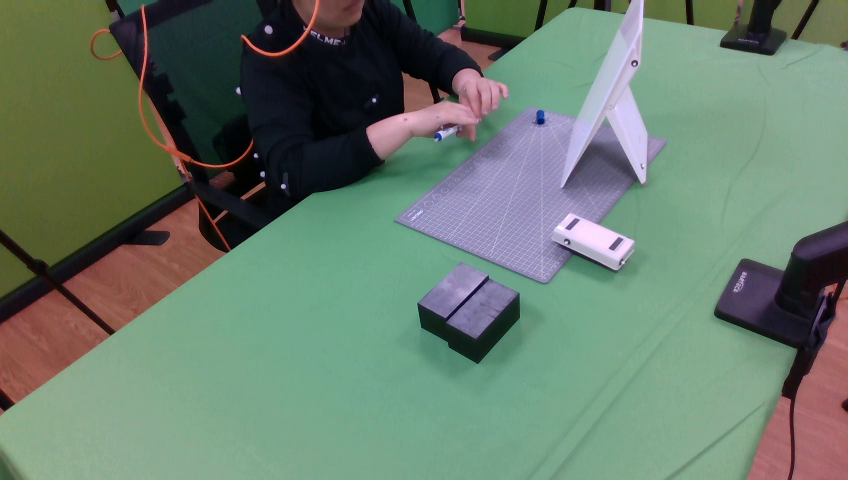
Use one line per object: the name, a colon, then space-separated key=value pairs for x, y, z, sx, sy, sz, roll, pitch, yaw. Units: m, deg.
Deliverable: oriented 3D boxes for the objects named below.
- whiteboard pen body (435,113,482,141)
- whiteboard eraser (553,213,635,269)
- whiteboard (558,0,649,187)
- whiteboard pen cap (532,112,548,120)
whiteboard pen body: x=0.068 y=-0.216 z=1.137 sx=0.017 sy=0.017 sz=0.141 roll=24 pitch=41 yaw=32
whiteboard eraser: x=0.257 y=0.003 z=0.918 sx=0.112 sy=0.042 sz=0.056 roll=27 pitch=49 yaw=30
whiteboard: x=0.361 y=-0.238 z=1.026 sx=0.144 sy=0.306 sz=0.217 roll=21 pitch=45 yaw=3
whiteboard pen cap: x=0.238 y=-0.254 z=1.238 sx=0.018 sy=0.018 sz=0.033 roll=-28 pitch=27 yaw=-22
